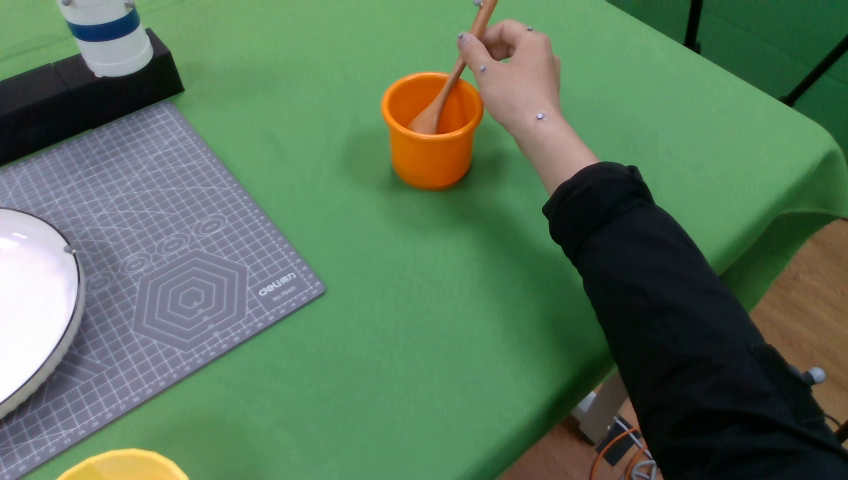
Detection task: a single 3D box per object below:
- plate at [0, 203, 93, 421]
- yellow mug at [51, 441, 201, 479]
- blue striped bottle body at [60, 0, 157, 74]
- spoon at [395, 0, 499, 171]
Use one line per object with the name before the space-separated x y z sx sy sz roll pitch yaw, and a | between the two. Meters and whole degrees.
plate | -0.352 0.063 0.450 0.208 0.039 0.205 1 53 -1
yellow mug | -0.187 0.184 0.352 0.131 0.064 0.099 -23 58 -17
blue striped bottle body | -0.294 -0.218 0.549 0.063 0.122 0.062 1 53 0
spoon | 0.025 -0.150 0.548 0.041 0.022 0.194 33 101 23
